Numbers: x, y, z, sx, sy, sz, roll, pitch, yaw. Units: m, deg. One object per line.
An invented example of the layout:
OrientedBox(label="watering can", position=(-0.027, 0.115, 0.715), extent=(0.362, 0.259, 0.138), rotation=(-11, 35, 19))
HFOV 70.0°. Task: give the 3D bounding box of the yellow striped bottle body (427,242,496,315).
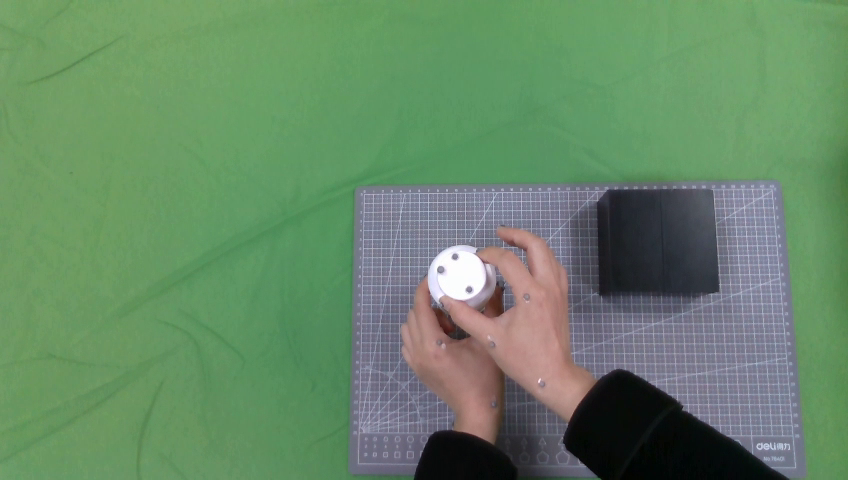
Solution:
OrientedBox(label="yellow striped bottle body", position=(0.034, 0.038, 0.577), extent=(0.063, 0.120, 0.062), rotation=(0, 81, 1))

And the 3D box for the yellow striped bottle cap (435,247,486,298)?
OrientedBox(label="yellow striped bottle cap", position=(0.032, 0.028, 0.526), extent=(0.044, 0.019, 0.044), rotation=(-1, 83, 7))
